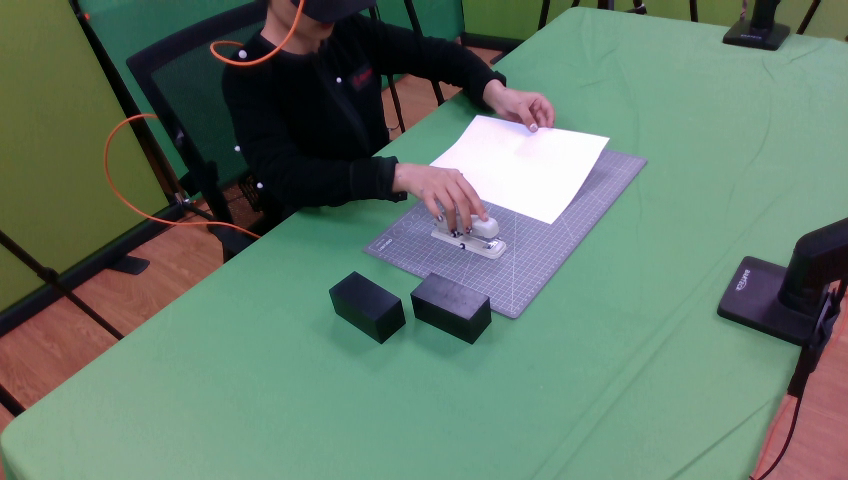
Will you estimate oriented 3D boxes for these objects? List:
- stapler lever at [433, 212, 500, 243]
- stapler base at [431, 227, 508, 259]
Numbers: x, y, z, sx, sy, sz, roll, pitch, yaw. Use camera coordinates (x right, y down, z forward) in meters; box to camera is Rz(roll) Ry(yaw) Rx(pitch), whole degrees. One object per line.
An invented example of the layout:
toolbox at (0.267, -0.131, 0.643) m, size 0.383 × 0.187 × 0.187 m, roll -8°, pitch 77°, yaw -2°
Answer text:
stapler lever at (0.067, -0.027, 0.957) m, size 0.117 × 0.040 × 0.027 m, roll 20°, pitch 46°, yaw 33°
stapler base at (0.072, -0.007, 0.972) m, size 0.129 × 0.024 × 0.041 m, roll 20°, pitch 45°, yaw 33°
